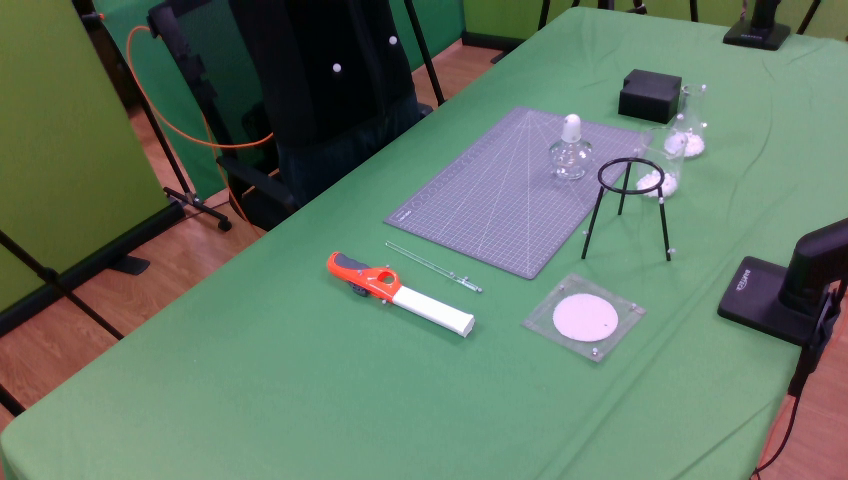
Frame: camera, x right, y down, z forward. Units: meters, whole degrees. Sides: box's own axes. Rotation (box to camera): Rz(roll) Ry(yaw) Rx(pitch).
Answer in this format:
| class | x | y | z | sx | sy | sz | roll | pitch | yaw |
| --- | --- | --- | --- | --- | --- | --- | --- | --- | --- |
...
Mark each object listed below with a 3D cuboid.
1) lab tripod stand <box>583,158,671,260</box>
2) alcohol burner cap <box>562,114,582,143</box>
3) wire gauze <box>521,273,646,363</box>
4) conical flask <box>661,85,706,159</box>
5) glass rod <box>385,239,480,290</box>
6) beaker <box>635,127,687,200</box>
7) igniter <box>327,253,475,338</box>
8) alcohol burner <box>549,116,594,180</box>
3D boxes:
| class | x | y | z | sx | sy | sz | roll | pitch | yaw |
| --- | --- | --- | --- | --- | --- | --- | --- | --- | --- |
| lab tripod stand | 0.300 | -0.046 | 0.895 | 0.148 | 0.132 | 0.147 | -7 | 38 | 6 |
| alcohol burner cap | 0.254 | -0.192 | 1.030 | 0.034 | 0.048 | 0.033 | -4 | 50 | 6 |
| wire gauze | 0.219 | 0.105 | 0.830 | 0.120 | 0.011 | 0.125 | 28 | 54 | 37 |
| conical flask | 0.464 | -0.210 | 1.065 | 0.075 | 0.122 | 0.075 | -6 | 40 | 5 |
| glass rod | 0.009 | 0.037 | 0.950 | 0.198 | 0.008 | 0.008 | 26 | 52 | 35 |
| beaker | 0.388 | -0.122 | 0.994 | 0.074 | 0.101 | 0.083 | -8 | 40 | 2 |
| igniter | -0.045 | 0.077 | 0.898 | 0.274 | 0.025 | 0.057 | 22 | 60 | 32 |
| alcohol burner | 0.258 | -0.166 | 1.055 | 0.078 | 0.120 | 0.077 | -6 | 42 | 6 |
